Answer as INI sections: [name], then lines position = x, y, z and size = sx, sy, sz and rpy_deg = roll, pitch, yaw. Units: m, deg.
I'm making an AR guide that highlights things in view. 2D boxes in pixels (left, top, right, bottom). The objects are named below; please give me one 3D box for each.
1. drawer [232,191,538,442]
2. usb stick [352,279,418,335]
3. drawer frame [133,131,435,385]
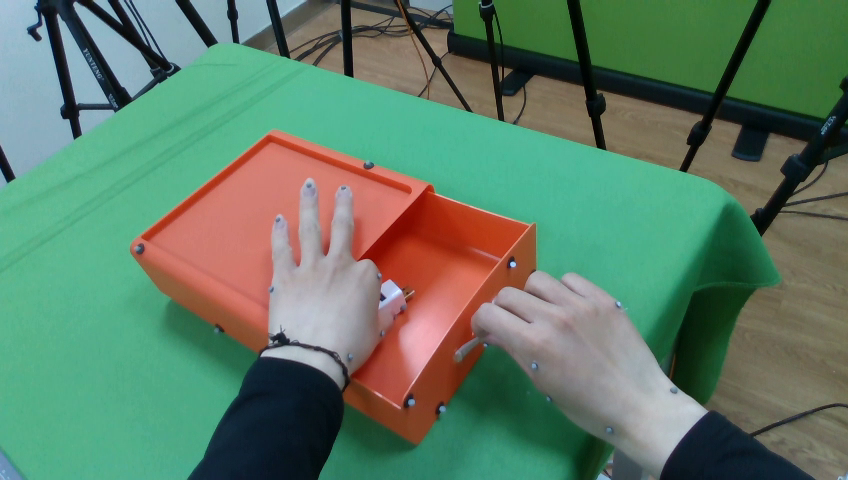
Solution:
[drawer]
position = -0.036, 0.038, 0.528
size = 0.210, 0.074, 0.194
rpy_deg = 21, 56, 30
[usb stick]
position = -0.033, 0.055, 0.537
size = 0.059, 0.027, 0.021
rpy_deg = -34, 47, -17
[drawer frame]
position = -0.124, 0.003, 0.578
size = 0.212, 0.083, 0.201
rpy_deg = 21, 56, 30
